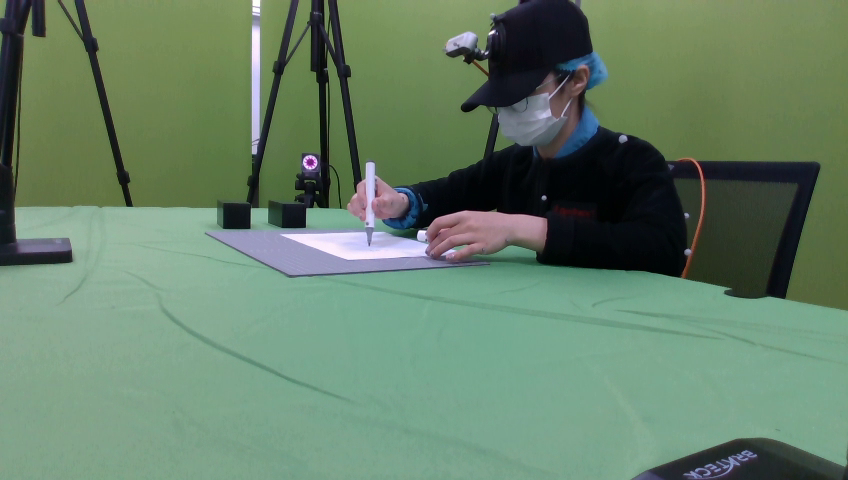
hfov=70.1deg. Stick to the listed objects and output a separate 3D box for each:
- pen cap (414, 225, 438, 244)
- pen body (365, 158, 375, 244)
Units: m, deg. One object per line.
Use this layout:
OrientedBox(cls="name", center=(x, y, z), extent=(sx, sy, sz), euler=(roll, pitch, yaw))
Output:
OrientedBox(cls="pen cap", center=(0.005, -0.007, 0.917), extent=(0.038, 0.017, 0.017), euler=(31, 23, 33))
OrientedBox(cls="pen body", center=(-0.089, -0.065, 0.998), extent=(0.017, 0.144, 0.017), euler=(0, -8, 0))
